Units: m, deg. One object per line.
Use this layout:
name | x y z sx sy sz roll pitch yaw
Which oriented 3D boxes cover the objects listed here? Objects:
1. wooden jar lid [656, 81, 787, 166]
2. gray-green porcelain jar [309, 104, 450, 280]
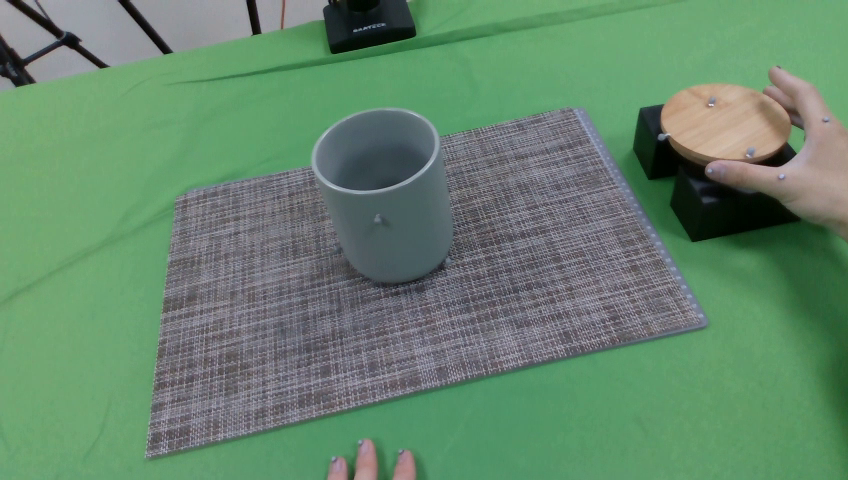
wooden jar lid | 0.266 -0.105 0.548 0.108 0.021 0.107 -5 51 6
gray-green porcelain jar | -0.032 -0.036 0.527 0.106 0.128 0.105 -4 49 6
